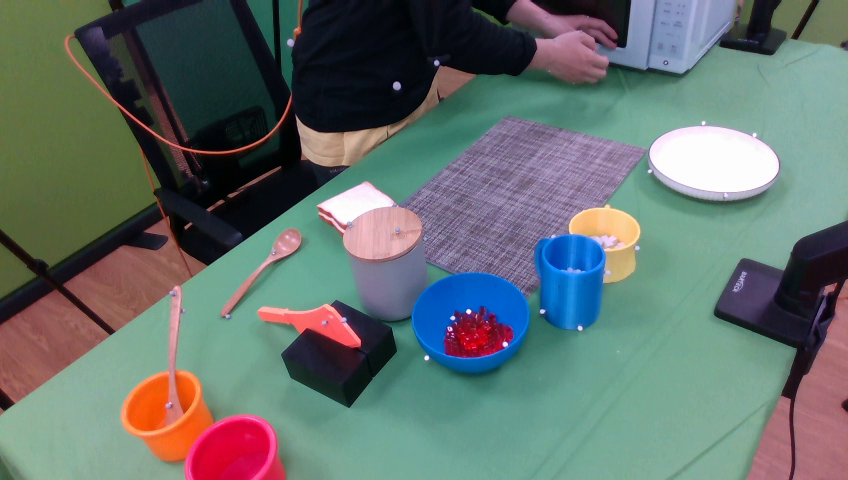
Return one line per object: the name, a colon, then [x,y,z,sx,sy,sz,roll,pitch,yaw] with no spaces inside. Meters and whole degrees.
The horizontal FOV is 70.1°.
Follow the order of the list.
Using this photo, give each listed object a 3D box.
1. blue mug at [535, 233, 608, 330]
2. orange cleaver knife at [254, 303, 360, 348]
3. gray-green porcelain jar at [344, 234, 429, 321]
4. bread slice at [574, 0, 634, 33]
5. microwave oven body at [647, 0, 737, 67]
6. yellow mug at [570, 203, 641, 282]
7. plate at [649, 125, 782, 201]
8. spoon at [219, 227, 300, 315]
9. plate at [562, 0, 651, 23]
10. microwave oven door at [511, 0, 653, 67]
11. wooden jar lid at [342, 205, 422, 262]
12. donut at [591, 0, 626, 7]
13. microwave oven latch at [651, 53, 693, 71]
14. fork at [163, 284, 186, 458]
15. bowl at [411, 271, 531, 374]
blue mug: [0.191,0.048,0.825,0.082,0.106,0.115,-26,44,-20]
orange cleaver knife: [-0.161,0.115,0.813,0.210,0.077,0.012,-5,33,46]
gray-green porcelain jar: [-0.049,0.042,0.849,0.106,0.127,0.105,-4,41,4]
bread slice: [0.432,-0.565,1.474,0.105,0.019,0.130,-32,67,-22]
microwave oven body: [0.475,-0.602,1.411,0.438,0.261,0.327,23,50,32]
yellow mug: [0.269,-0.005,0.904,0.099,0.064,0.130,7,42,15]
plate: [0.493,-0.128,1.036,0.207,0.039,0.206,-4,41,4]
spoon: [-0.260,0.046,0.954,0.041,0.021,0.194,27,48,11]
plate: [0.439,-0.573,1.456,0.209,0.038,0.208,-6,44,6]
microwave oven door: [0.348,-0.538,1.346,0.353,0.245,0.039,26,53,32]
wooden jar lid: [-0.055,-0.006,0.808,0.108,0.021,0.108,-6,40,6]
donut: [0.437,-0.589,1.432,0.099,0.048,0.098,-3,53,4]
microwave oven latch: [0.532,-0.386,1.302,0.078,0.029,0.030,27,52,34]
fork: [-0.302,0.157,0.734,0.028,0.019,0.207,-3,84,13]
bowl: [0.062,0.119,0.780,0.151,0.077,0.150,-4,40,4]
